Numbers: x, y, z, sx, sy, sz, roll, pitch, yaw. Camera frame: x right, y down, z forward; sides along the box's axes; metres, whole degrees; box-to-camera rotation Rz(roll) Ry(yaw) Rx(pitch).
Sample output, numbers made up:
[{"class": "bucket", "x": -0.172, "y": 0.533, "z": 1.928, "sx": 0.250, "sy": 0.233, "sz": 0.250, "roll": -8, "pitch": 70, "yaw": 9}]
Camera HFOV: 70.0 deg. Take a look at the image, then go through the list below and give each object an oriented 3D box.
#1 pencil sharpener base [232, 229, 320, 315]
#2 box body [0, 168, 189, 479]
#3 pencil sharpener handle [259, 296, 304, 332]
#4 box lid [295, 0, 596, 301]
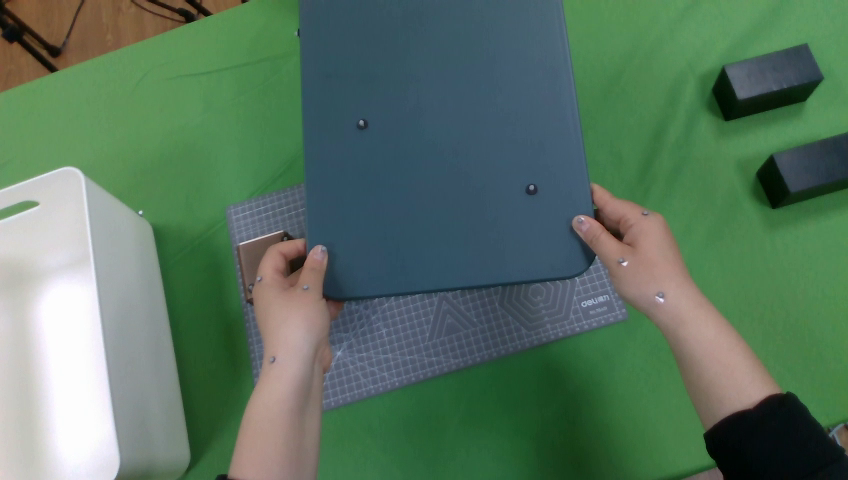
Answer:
[{"class": "pencil sharpener base", "x": -0.172, "y": 0.044, "z": 0.716, "sx": 0.061, "sy": 0.108, "sz": 0.076, "roll": -17, "pitch": 71, "yaw": 3}, {"class": "box body", "x": -0.445, "y": 0.136, "z": 0.705, "sx": 0.254, "sy": 0.161, "sz": 0.361, "roll": -20, "pitch": 70, "yaw": 2}, {"class": "pencil sharpener handle", "x": -0.157, "y": 0.086, "z": 0.688, "sx": 0.036, "sy": 0.068, "sz": 0.030, "roll": -21, "pitch": 70, "yaw": 13}, {"class": "box lid", "x": 0.009, "y": -0.135, "z": 0.579, "sx": 0.263, "sy": 0.015, "sz": 0.369, "roll": -6, "pitch": 76, "yaw": 4}]
